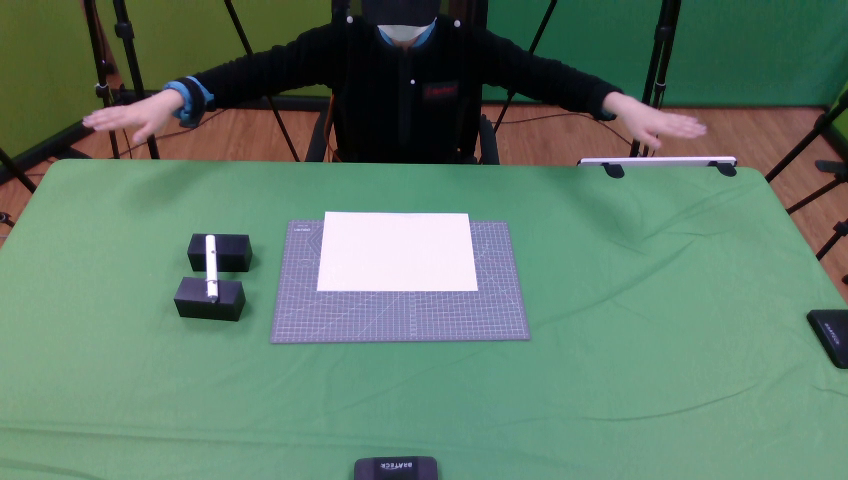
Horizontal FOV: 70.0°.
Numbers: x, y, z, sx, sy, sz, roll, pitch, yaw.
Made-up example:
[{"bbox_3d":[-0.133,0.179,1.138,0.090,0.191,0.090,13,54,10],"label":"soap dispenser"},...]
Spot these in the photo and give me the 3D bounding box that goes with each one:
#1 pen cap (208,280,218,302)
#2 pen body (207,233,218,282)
[{"bbox_3d":[-0.356,0.086,1.021,0.017,0.017,0.038,-9,47,-12],"label":"pen cap"},{"bbox_3d":[-0.371,0.042,1.062,0.017,0.017,0.143,-9,47,-12],"label":"pen body"}]
